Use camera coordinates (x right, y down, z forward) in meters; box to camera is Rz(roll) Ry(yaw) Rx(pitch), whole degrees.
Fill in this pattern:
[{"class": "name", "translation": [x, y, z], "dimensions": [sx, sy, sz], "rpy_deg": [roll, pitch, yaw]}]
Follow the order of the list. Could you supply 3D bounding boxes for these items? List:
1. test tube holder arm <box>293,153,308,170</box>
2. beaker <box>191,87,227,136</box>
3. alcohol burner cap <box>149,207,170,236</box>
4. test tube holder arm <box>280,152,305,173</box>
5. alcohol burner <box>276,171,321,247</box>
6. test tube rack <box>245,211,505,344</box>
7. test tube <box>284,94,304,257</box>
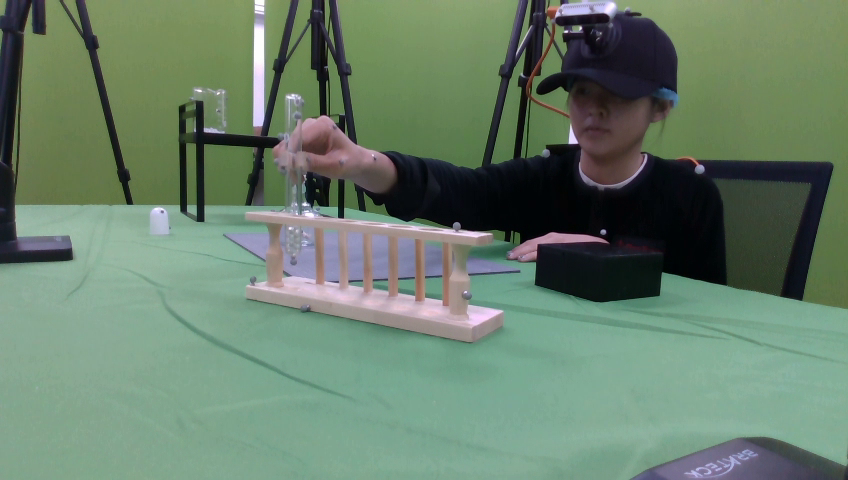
[{"class": "test tube holder arm", "translation": [-0.120, -0.075, 0.582], "dimensions": [0.010, 0.015, 0.087], "rpy_deg": [4, 4, -16]}, {"class": "beaker", "translation": [-0.476, -0.284, 1.345], "dimensions": [0.074, 0.100, 0.083], "rpy_deg": [-3, 10, -37]}, {"class": "alcohol burner cap", "translation": [-0.445, -0.032, 1.019], "dimensions": [0.034, 0.048, 0.034], "rpy_deg": [4, 8, 0]}, {"class": "test tube holder arm", "translation": [-0.134, -0.079, 0.625], "dimensions": [0.013, 0.015, 0.178], "rpy_deg": [5, 4, -9]}, {"class": "alcohol burner", "translation": [-0.200, -0.050, 0.948], "dimensions": [0.078, 0.119, 0.078], "rpy_deg": [1, 8, 0]}, {"class": "test tube rack", "translation": [-0.049, 0.025, 0.547], "dimensions": [0.241, 0.085, 0.067], "rpy_deg": [7, 8, 29]}, {"class": "test tube", "translation": [-0.121, -0.059, 0.559], "dimensions": [0.017, 0.150, 0.017], "rpy_deg": [1, 2, 0]}]
